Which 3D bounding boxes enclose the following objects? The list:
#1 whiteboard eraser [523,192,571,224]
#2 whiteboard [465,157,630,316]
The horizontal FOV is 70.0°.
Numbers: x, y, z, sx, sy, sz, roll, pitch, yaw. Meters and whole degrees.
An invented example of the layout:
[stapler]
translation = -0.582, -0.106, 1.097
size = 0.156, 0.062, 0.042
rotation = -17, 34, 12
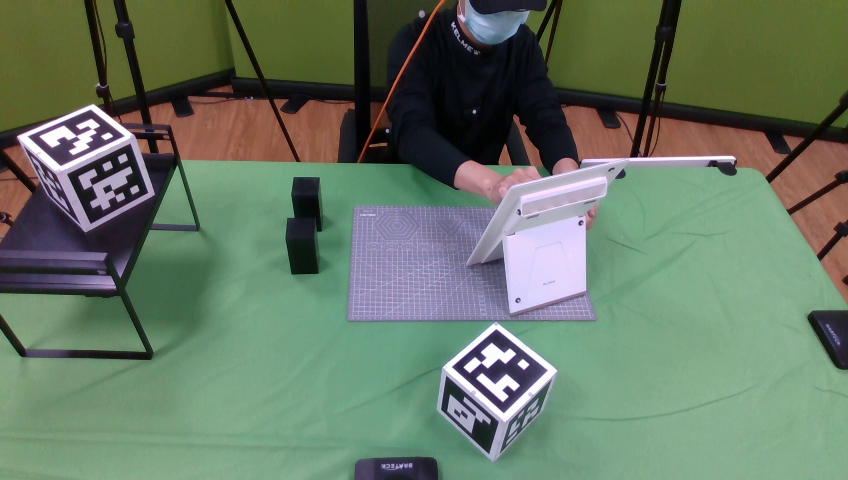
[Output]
[whiteboard eraser]
translation = 0.218, -0.058, 1.076
size = 0.041, 0.101, 0.019
rotation = -7, 71, -43
[whiteboard]
translation = 0.224, 0.015, 1.041
size = 0.217, 0.306, 0.143
rotation = -13, 68, -17
